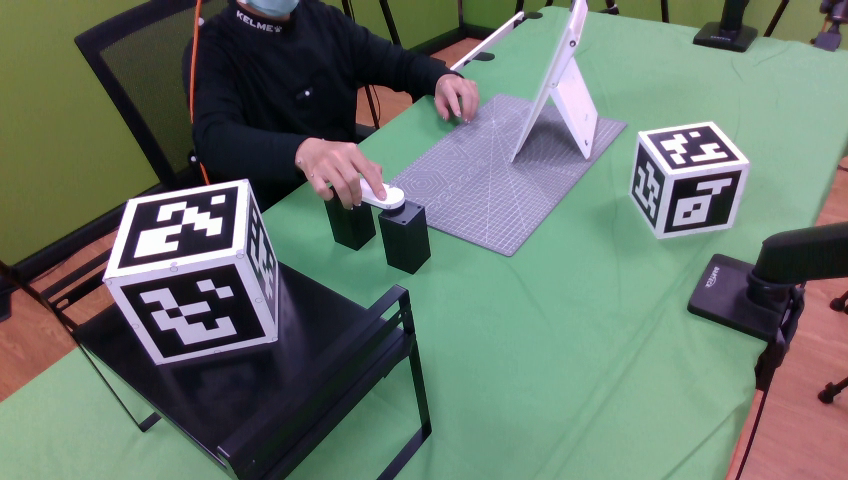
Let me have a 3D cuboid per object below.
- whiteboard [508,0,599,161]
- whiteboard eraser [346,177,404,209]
[{"bbox_3d":[0.285,-0.289,1.089,0.144,0.305,0.217,22,45,3],"label":"whiteboard"},{"bbox_3d":[-0.074,-0.072,0.910,0.100,0.019,0.041,19,48,30],"label":"whiteboard eraser"}]
